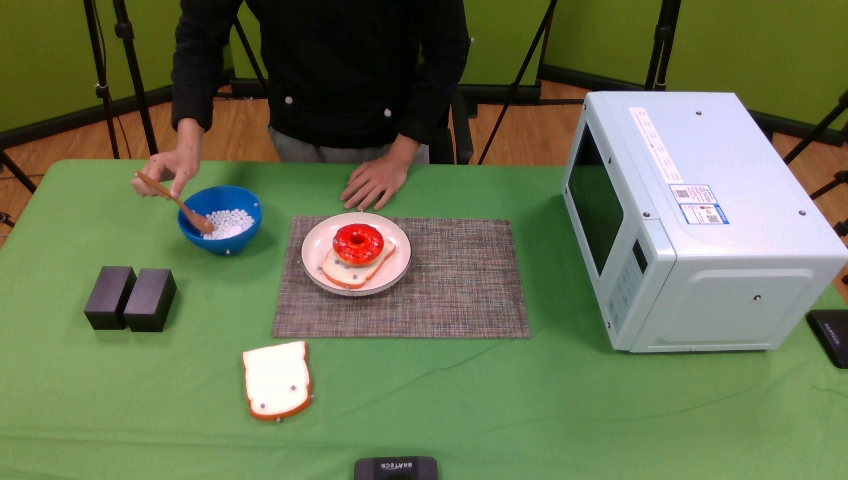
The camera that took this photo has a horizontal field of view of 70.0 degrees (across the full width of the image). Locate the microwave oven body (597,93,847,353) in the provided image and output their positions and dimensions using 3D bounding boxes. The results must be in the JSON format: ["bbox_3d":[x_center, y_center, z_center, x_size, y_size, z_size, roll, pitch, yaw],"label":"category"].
[{"bbox_3d":[0.475,-0.041,1.109,0.326,0.261,0.438,-1,45,-4],"label":"microwave oven body"}]

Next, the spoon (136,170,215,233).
[{"bbox_3d":[-0.442,-0.069,1.087,0.021,0.195,0.041,-24,52,6],"label":"spoon"}]

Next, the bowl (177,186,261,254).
[{"bbox_3d":[-0.383,-0.026,1.158,0.151,0.077,0.150,2,46,-2],"label":"bowl"}]

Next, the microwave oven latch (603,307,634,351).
[{"bbox_3d":[0.332,0.153,1.044,0.030,0.029,0.078,0,45,-4],"label":"microwave oven latch"}]

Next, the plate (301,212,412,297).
[{"bbox_3d":[-0.126,0.031,1.145,0.208,0.039,0.206,2,46,-2],"label":"plate"}]

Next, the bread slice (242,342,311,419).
[{"bbox_3d":[-0.234,0.223,0.970,0.105,0.019,0.130,-10,46,-13],"label":"bread slice"}]

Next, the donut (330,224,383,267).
[{"bbox_3d":[-0.125,0.010,1.127,0.099,0.048,0.098,3,45,-3],"label":"donut"}]

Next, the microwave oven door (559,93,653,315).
[{"bbox_3d":[0.327,-0.074,1.123,0.039,0.245,0.353,-1,46,-5],"label":"microwave oven door"}]

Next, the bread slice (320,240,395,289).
[{"bbox_3d":[-0.129,0.037,1.141,0.107,0.018,0.134,19,47,14],"label":"bread slice"}]
